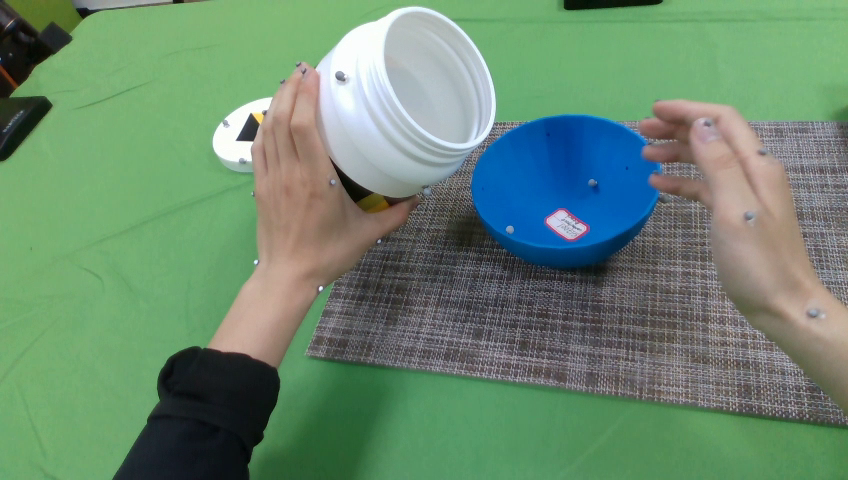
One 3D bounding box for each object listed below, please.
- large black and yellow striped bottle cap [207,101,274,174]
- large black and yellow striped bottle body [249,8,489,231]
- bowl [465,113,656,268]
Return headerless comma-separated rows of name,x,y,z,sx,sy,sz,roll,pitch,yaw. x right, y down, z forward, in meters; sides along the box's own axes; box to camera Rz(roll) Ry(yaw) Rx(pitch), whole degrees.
large black and yellow striped bottle cap,-0.200,-0.124,0.720,0.115,0.019,0.114,-6,51,8
large black and yellow striped bottle body,-0.048,-0.092,0.496,0.183,0.132,0.130,-22,37,47
bowl,0.114,-0.029,0.515,0.151,0.077,0.150,-7,51,9
